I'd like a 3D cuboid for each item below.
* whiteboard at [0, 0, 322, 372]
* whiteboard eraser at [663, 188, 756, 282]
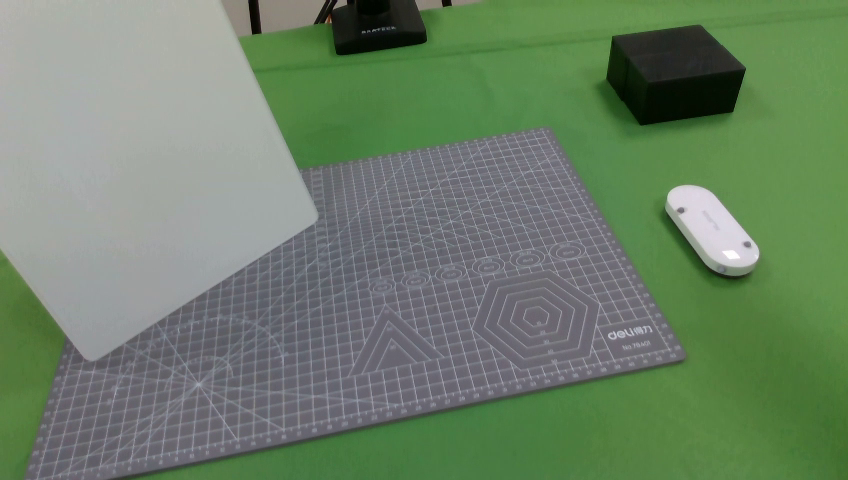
[{"bbox_3d":[-0.258,-0.097,0.479,0.217,0.308,0.142,-36,32,-26],"label":"whiteboard"},{"bbox_3d":[0.233,-0.008,0.500,0.041,0.019,0.100,-10,45,-6],"label":"whiteboard eraser"}]
